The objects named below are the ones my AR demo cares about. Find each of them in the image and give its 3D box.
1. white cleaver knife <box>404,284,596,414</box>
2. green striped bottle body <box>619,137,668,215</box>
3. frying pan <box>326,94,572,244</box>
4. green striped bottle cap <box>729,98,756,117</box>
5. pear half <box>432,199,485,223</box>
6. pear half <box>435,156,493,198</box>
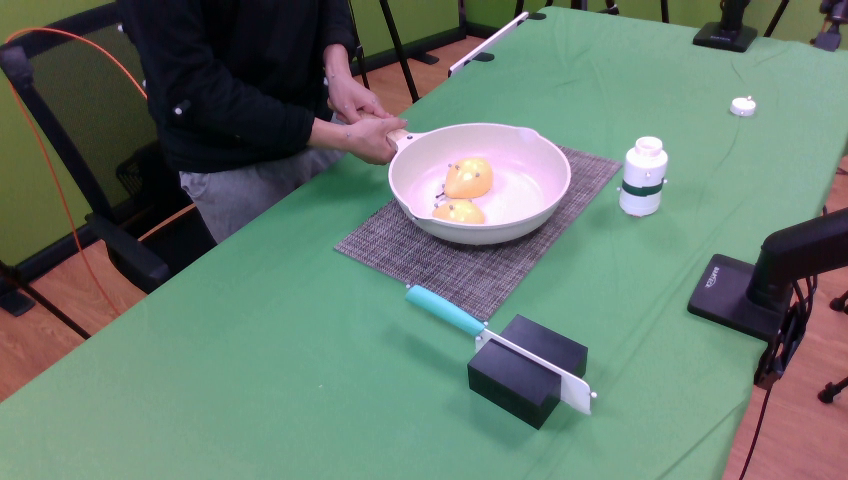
[{"bbox_3d":[0.084,0.135,0.764,0.284,0.066,0.021,28,47,31],"label":"white cleaver knife"},{"bbox_3d":[0.350,-0.103,0.963,0.063,0.120,0.063,-4,41,4],"label":"green striped bottle body"},{"bbox_3d":[0.011,-0.146,1.028,0.484,0.103,0.308,34,52,24],"label":"frying pan"},{"bbox_3d":[0.623,-0.259,1.182,0.044,0.020,0.044,-3,40,3],"label":"green striped bottle cap"},{"bbox_3d":[0.054,-0.046,0.964,0.087,0.031,0.070,18,40,17],"label":"pear half"},{"bbox_3d":[0.062,-0.105,1.014,0.110,0.056,0.075,-31,43,-25],"label":"pear half"}]
